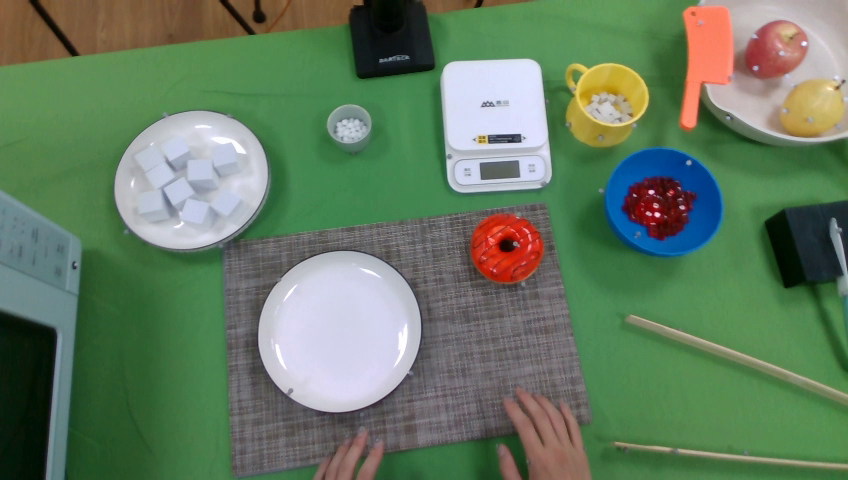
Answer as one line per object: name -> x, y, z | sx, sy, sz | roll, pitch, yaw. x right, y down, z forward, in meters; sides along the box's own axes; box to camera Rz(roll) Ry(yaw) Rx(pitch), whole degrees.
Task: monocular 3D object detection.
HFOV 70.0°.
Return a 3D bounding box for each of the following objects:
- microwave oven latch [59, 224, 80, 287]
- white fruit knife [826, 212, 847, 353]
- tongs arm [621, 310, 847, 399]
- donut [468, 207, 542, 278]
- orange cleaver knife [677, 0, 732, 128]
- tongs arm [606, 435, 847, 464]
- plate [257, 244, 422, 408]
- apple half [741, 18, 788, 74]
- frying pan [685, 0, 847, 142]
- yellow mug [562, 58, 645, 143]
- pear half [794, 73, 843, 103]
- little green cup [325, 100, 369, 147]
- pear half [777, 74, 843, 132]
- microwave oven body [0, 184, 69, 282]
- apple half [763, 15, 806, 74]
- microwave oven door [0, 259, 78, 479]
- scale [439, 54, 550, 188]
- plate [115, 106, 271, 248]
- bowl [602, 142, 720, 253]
microwave oven latch -> -0.466, 0.020, 0.783 | 0.030, 0.029, 0.078 | -3, 74, -2
white fruit knife -> 0.542, 0.066, 0.782 | 0.016, 0.027, 0.207 | -10, 88, -3
tongs arm -> 0.440, 0.167, 0.776 | 0.387, 0.028, 0.028 | 21, 66, 6
donut -> 0.107, 0.003, 0.809 | 0.099, 0.048, 0.098 | 0, 74, 1
orange cleaver knife -> 0.389, -0.249, 0.844 | 0.077, 0.012, 0.210 | 10, 74, 3
tongs arm -> 0.421, 0.246, 0.748 | 0.385, 0.027, 0.050 | 7, 68, 1
plate -> -0.107, 0.109, 0.777 | 0.209, 0.038, 0.208 | 0, 73, 0
apple half -> 0.485, -0.276, 0.882 | 0.033, 0.081, 0.081 | -15, 73, -9
frying pan -> 0.577, -0.193, 0.848 | 0.307, 0.103, 0.484 | -34, 68, -9
yellow mug -> 0.246, -0.209, 0.868 | 0.100, 0.064, 0.130 | -39, 76, -11
pear half -> 0.559, -0.216, 0.857 | 0.070, 0.088, 0.031 | 27, 76, 10
little green cup -> -0.107, -0.163, 0.864 | 0.061, 0.039, 0.061 | 0, 72, 0
pear half -> 0.539, -0.190, 0.839 | 0.076, 0.110, 0.056 | 28, 74, 12
microwave oven body -> -0.597, 0.171, 0.634 | 0.326, 0.261, 0.439 | -5, 74, -3
apple half -> 0.522, -0.287, 0.887 | 0.053, 0.075, 0.080 | -16, 70, -9
microwave oven door -> -0.447, 0.198, 0.623 | 0.039, 0.245, 0.353 | -5, 73, -2
scale -> 0.100, -0.174, 0.873 | 0.149, 0.032, 0.199 | -3, 74, -1
plate -> -0.313, -0.085, 0.837 | 0.208, 0.039, 0.206 | 0, 73, -1
bowl -> 0.306, -0.046, 0.814 | 0.151, 0.077, 0.150 | 0, 74, 0
